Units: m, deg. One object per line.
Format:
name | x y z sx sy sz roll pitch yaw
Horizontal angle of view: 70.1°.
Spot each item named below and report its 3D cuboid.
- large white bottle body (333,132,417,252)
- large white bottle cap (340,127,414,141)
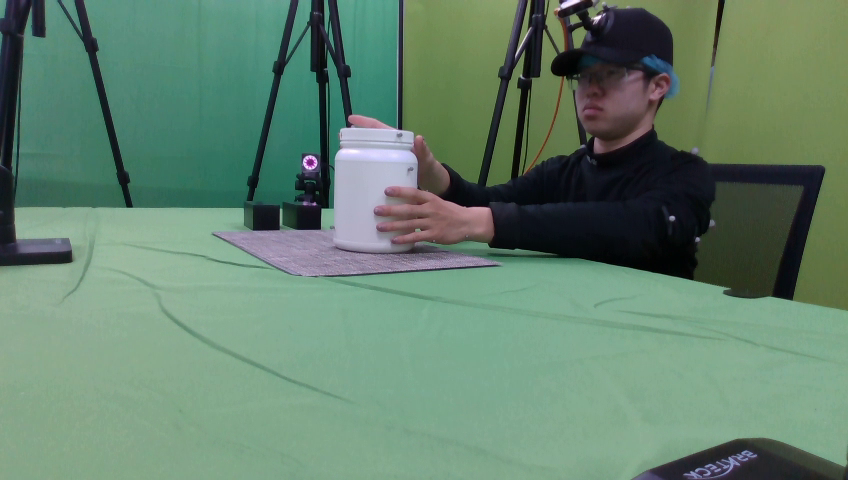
large white bottle body | -0.076 -0.080 0.949 0.131 0.184 0.130 2 8 0
large white bottle cap | -0.072 -0.163 0.938 0.115 0.018 0.115 2 7 0
